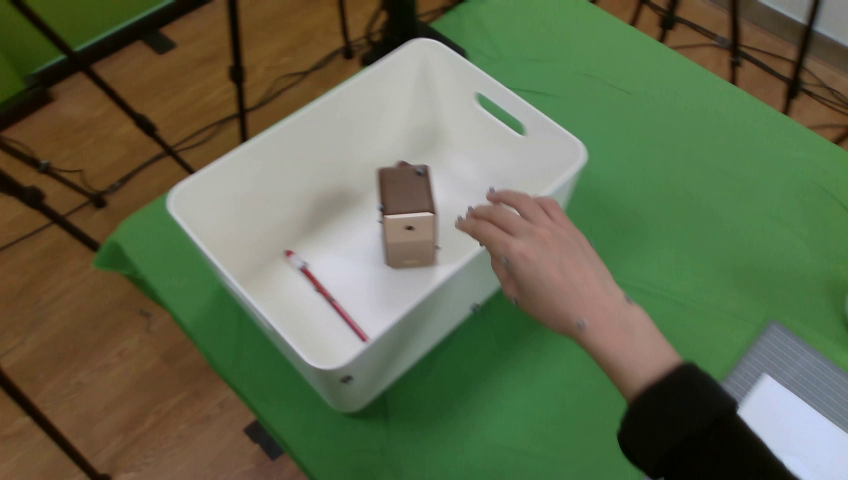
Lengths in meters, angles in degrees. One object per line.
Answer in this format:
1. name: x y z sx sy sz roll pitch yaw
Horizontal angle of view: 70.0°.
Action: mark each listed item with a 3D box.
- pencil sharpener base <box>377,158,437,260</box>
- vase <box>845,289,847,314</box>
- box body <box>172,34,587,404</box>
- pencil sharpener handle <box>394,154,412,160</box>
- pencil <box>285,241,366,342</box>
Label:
1. pencil sharpener base: -0.020 -0.035 0.698 0.061 0.108 0.076 -4 57 -3
2. vase: 0.528 0.036 0.619 0.098 0.201 0.097 0 56 0
3. box body: -0.038 -0.029 0.670 0.364 0.162 0.252 -39 66 -22
4. pencil sharpener handle: -0.023 -0.084 0.715 0.036 0.068 0.030 -7 57 1
5. pencil: -0.103 0.070 0.690 0.012 0.012 0.192 -34 67 -20
